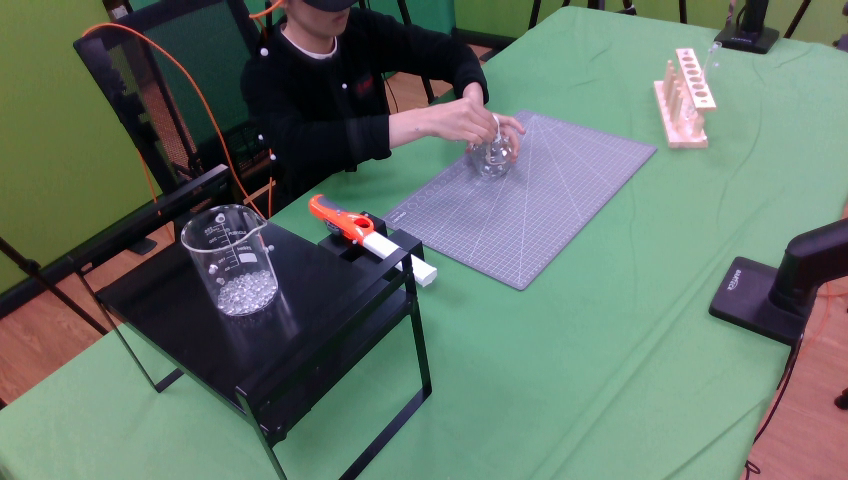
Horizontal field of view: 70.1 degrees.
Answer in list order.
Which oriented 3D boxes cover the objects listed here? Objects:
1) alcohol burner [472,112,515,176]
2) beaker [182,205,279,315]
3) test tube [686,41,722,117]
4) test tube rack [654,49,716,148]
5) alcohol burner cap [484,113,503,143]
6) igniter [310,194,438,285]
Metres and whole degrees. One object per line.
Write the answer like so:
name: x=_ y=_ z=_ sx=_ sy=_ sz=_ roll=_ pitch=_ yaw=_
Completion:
alcohol burner: x=0.123 y=-0.174 z=1.076 sx=0.078 sy=0.120 sz=0.077 roll=-6 pitch=41 yaw=6
beaker: x=-0.197 y=0.024 z=0.641 sx=0.084 sy=0.101 sz=0.073 roll=-12 pitch=41 yaw=-6
test tube: x=0.510 y=-0.290 z=1.105 sx=0.017 sy=0.150 sz=0.017 roll=2 pitch=44 yaw=-1
test tube rack: x=0.502 y=-0.281 z=1.176 sx=0.066 sy=0.085 sz=0.241 roll=1 pitch=41 yaw=11
alcohol burner cap: x=0.121 y=-0.197 z=1.055 sx=0.034 sy=0.048 sz=0.033 roll=-4 pitch=41 yaw=4
igniter: x=-0.086 y=-0.007 z=0.921 sx=0.274 sy=0.025 sz=0.057 roll=31 pitch=51 yaw=34
